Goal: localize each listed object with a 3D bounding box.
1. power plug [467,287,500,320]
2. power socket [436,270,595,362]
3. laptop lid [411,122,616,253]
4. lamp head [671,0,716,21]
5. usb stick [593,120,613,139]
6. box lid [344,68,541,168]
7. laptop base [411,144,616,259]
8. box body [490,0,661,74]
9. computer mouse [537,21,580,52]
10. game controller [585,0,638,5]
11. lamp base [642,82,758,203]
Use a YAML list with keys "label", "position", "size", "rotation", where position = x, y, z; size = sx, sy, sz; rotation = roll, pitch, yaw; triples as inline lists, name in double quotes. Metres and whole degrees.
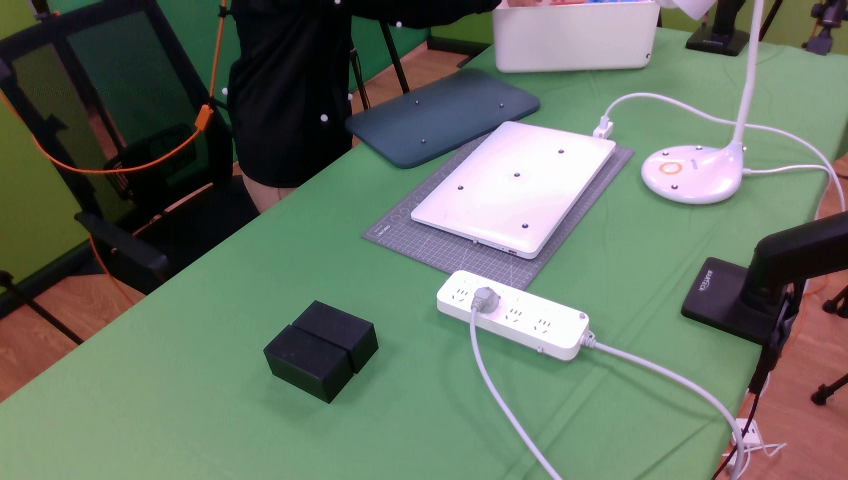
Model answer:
- label: "power plug"
  position: [0.073, 0.092, 0.814]
  size: [0.035, 0.053, 0.073]
  rotation: [29, 54, 34]
- label: "power socket"
  position: [0.118, 0.101, 0.832]
  size: [0.225, 0.033, 0.072]
  rotation: [19, 48, 27]
- label: "laptop lid"
  position: [0.164, -0.111, 1.067]
  size: [0.240, 0.013, 0.357]
  rotation: [19, 46, 31]
- label: "lamp head"
  position: [0.375, -0.373, 0.807]
  size: [0.122, 0.113, 0.112]
  rotation: [-40, 27, 32]
- label: "usb stick"
  position: [0.336, -0.201, 1.147]
  size: [0.021, 0.027, 0.059]
  rotation: [26, 53, 27]
- label: "box lid"
  position: [0.040, -0.273, 1.300]
  size: [0.373, 0.015, 0.261]
  rotation: [-28, 44, -22]
- label: "laptop base"
  position: [0.168, -0.101, 1.074]
  size: [0.234, 0.023, 0.355]
  rotation: [17, 46, 30]
- label: "box body"
  position: [0.346, -0.520, 1.429]
  size: [0.363, 0.161, 0.253]
  rotation: [0, 41, 9]
- label: "computer mouse"
  position: [0.335, -0.503, 1.488]
  size: [0.118, 0.041, 0.062]
  rotation: [21, 21, -28]
- label: "game controller"
  position: [0.427, -0.548, 1.425]
  size: [0.155, 0.052, 0.096]
  rotation: [-16, 44, -11]
- label: "lamp base"
  position: [0.464, -0.174, 0.992]
  size: [0.179, 0.181, 0.159]
  rotation: [-5, 41, -1]
